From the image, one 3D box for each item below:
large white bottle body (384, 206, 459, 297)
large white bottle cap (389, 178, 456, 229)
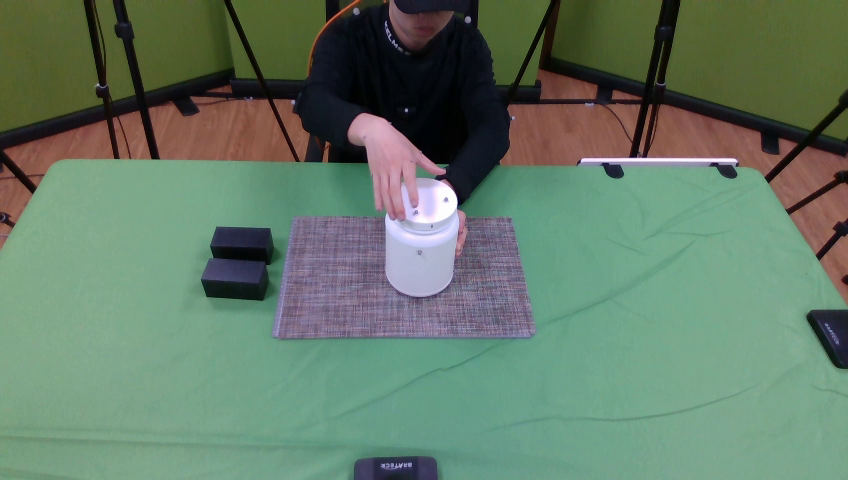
[{"bbox_3d":[-0.006,-0.002,1.082,0.131,0.185,0.130,2,46,-2],"label":"large white bottle body"},{"bbox_3d":[-0.002,-0.063,1.019,0.115,0.018,0.114,2,46,-2],"label":"large white bottle cap"}]
